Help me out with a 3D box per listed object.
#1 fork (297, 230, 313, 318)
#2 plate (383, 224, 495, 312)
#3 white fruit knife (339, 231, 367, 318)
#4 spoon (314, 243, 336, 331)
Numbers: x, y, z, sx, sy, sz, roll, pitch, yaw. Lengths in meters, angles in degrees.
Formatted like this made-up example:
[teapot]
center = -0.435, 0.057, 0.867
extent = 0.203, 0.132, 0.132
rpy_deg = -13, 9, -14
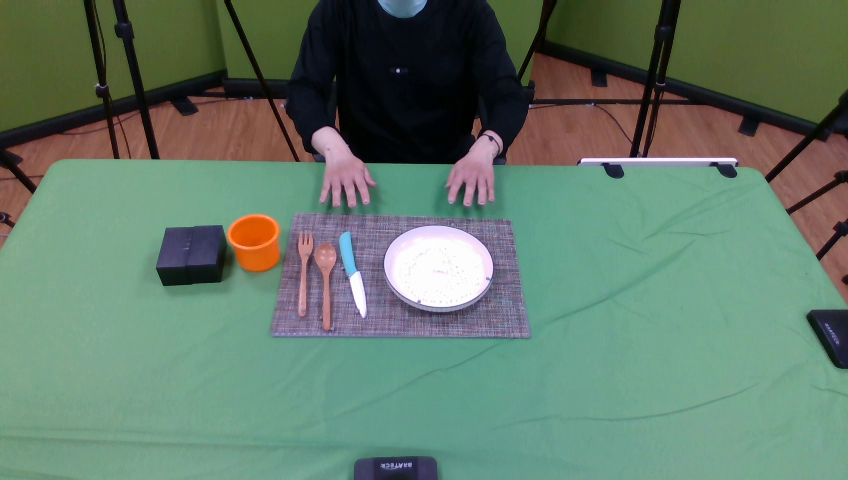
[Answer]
[fork]
center = -0.223, 0.058, 1.121
extent = 0.028, 0.019, 0.206
rpy_deg = 4, 43, -11
[plate]
center = 0.026, 0.055, 1.128
extent = 0.209, 0.038, 0.208
rpy_deg = 2, 46, -2
[white fruit knife]
center = -0.132, 0.062, 1.125
extent = 0.027, 0.016, 0.206
rpy_deg = -18, 49, -2
[spoon]
center = -0.179, 0.082, 1.098
extent = 0.042, 0.022, 0.192
rpy_deg = 9, 44, -18
